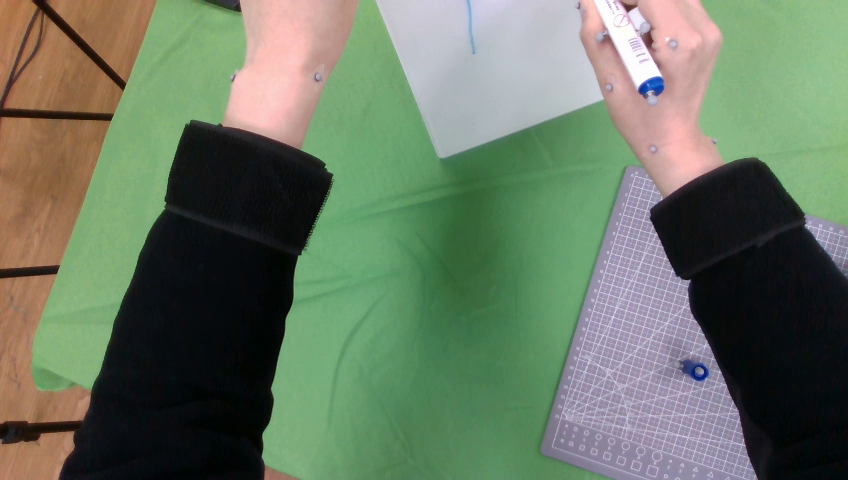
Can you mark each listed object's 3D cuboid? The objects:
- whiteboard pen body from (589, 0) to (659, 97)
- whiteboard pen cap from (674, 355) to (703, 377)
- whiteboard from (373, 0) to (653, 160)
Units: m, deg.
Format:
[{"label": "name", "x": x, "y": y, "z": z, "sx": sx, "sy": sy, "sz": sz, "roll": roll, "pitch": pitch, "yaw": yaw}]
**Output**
[{"label": "whiteboard pen body", "x": 0.117, "y": -0.149, "z": 0.386, "sx": 0.017, "sy": 0.017, "sz": 0.139, "roll": -17, "pitch": 66, "yaw": 5}, {"label": "whiteboard pen cap", "x": 0.251, "y": 0.118, "z": 0.578, "sx": 0.018, "sy": 0.033, "sz": 0.018, "roll": 0, "pitch": 90, "yaw": 5}, {"label": "whiteboard", "x": 0.064, "y": -0.233, "z": 0.502, "sx": 0.217, "sy": 0.308, "sz": 0.142, "roll": -19, "pitch": 67, "yaw": 5}]
